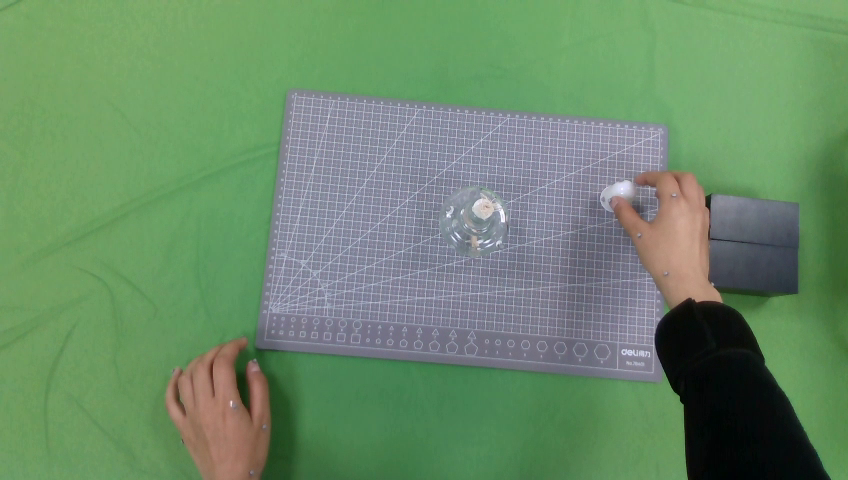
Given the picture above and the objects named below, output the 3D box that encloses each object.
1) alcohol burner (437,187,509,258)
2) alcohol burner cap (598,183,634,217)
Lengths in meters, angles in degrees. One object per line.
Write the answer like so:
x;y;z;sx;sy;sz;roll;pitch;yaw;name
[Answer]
0.054;-0.022;0.636;0.078;0.119;0.077;1;81;-4;alcohol burner
0.219;-0.048;0.684;0.034;0.048;0.033;0;79;-1;alcohol burner cap
